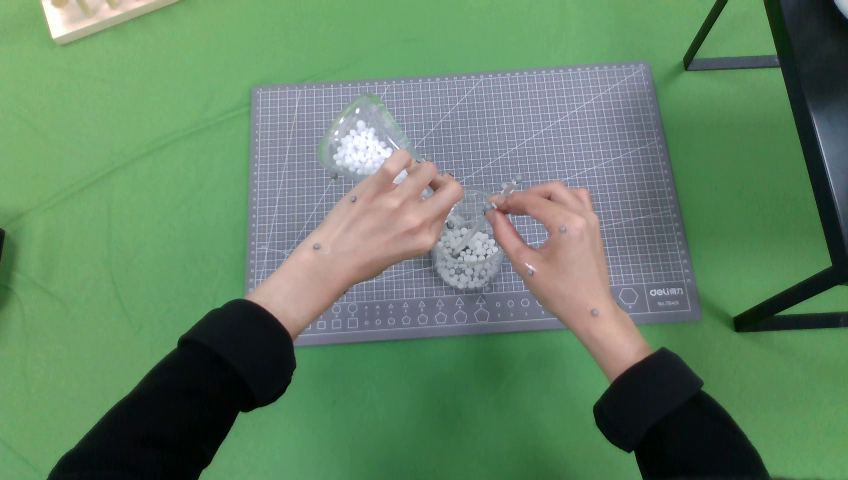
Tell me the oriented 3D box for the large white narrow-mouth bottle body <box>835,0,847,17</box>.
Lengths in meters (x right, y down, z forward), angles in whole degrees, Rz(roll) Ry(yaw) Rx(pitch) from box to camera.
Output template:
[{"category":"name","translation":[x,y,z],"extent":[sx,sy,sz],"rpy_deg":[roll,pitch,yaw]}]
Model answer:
[{"category":"large white narrow-mouth bottle body","translation":[0.375,-0.236,0.408],"extent":[0.102,0.196,0.101],"rpy_deg":[-1,70,3]}]

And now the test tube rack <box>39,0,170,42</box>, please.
[{"category":"test tube rack","translation":[-0.338,-0.323,0.697],"extent":[0.242,0.086,0.066],"rpy_deg":[-24,72,-7]}]

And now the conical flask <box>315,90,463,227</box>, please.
[{"category":"conical flask","translation":[-0.025,-0.062,0.511],"extent":[0.122,0.075,0.075],"rpy_deg":[38,76,-1]}]

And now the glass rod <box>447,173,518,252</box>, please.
[{"category":"glass rod","translation":[0.045,-0.018,0.523],"extent":[0.008,0.200,0.008],"rpy_deg":[3,73,-11]}]

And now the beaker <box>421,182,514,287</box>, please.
[{"category":"beaker","translation":[0.038,-0.001,0.572],"extent":[0.084,0.101,0.073],"rpy_deg":[19,72,9]}]
